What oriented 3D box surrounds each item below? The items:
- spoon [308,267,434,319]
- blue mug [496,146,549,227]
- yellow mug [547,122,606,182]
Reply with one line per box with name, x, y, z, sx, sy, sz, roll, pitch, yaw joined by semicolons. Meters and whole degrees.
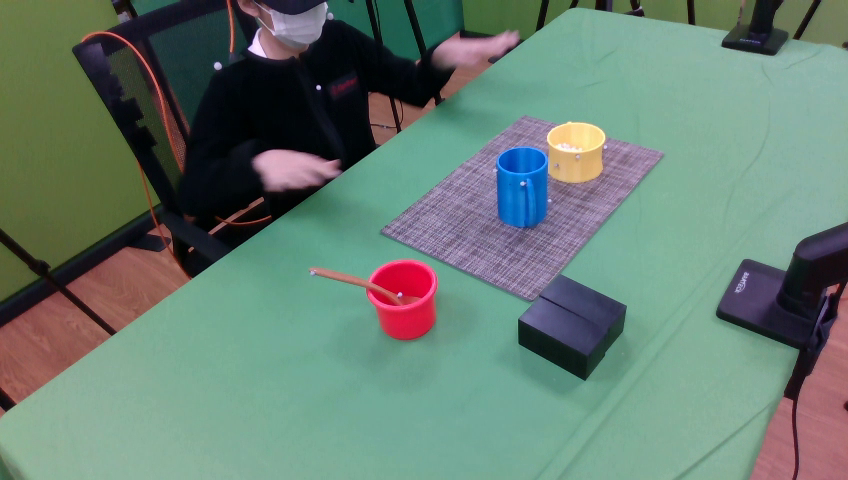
spoon;-0.067;0.068;0.812;0.195;0.021;0.041;26;32;-31
blue mug;0.162;-0.076;0.969;0.082;0.106;0.116;-9;40;-1
yellow mug;0.270;-0.167;1.090;0.100;0.064;0.130;-6;39;3
